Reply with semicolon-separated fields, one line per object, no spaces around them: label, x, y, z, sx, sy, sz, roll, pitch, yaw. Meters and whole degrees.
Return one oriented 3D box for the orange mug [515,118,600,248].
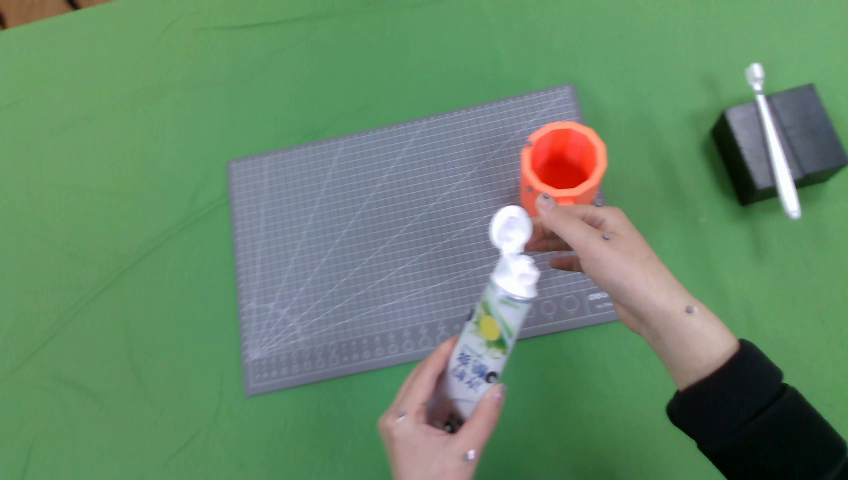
orange mug;0.145;-0.058;0.665;0.083;0.101;0.125;-4;69;7

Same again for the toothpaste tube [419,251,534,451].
toothpaste tube;0.040;0.080;0.453;0.054;0.035;0.166;35;115;34

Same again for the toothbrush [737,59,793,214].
toothbrush;0.365;-0.114;0.647;0.014;0.017;0.180;-7;73;2

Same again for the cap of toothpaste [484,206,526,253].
cap of toothpaste;0.060;-0.007;0.439;0.037;0.011;0.037;-4;100;-27
